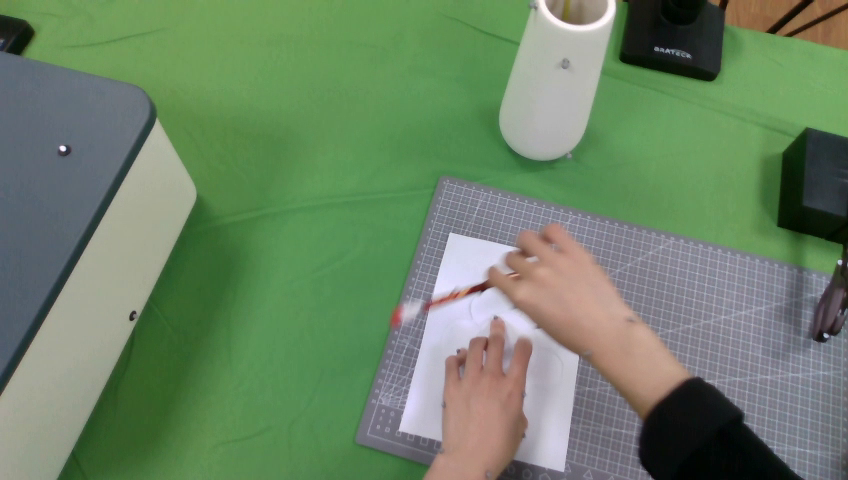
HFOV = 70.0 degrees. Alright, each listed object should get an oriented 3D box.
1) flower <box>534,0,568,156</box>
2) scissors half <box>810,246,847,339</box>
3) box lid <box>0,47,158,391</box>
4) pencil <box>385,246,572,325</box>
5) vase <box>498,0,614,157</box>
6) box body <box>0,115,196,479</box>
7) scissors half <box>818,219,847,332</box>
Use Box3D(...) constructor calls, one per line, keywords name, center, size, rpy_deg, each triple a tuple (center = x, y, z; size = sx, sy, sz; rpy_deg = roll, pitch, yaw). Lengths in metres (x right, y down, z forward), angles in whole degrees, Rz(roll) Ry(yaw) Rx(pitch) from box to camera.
Box3D(name="flower", center=(0.129, -0.218, 0.548), size=(0.044, 0.365, 0.038), rpy_deg=(8, 49, 7))
Box3D(name="scissors half", center=(0.418, 0.016, 0.609), size=(0.012, 0.040, 0.175), rpy_deg=(19, 85, 23))
Box3D(name="box lid", center=(-0.401, -0.006, 0.475), size=(0.263, 0.015, 0.369), rpy_deg=(15, 67, 5))
Box3D(name="pencil", center=(0.054, 0.037, 0.541), size=(0.194, 0.012, 0.012), rpy_deg=(-20, 67, -19))
Box3D(name="vase", center=(0.131, -0.171, 0.618), size=(0.098, 0.201, 0.097), rpy_deg=(0, 65, 0))
Box3D(name="box body", center=(-0.402, 0.026, 0.543), size=(0.254, 0.161, 0.362), rpy_deg=(15, 67, 6))
Box3D(name="scissors half", center=(0.412, 0.009, 0.590), size=(0.013, 0.040, 0.174), rpy_deg=(20, 68, 18))
